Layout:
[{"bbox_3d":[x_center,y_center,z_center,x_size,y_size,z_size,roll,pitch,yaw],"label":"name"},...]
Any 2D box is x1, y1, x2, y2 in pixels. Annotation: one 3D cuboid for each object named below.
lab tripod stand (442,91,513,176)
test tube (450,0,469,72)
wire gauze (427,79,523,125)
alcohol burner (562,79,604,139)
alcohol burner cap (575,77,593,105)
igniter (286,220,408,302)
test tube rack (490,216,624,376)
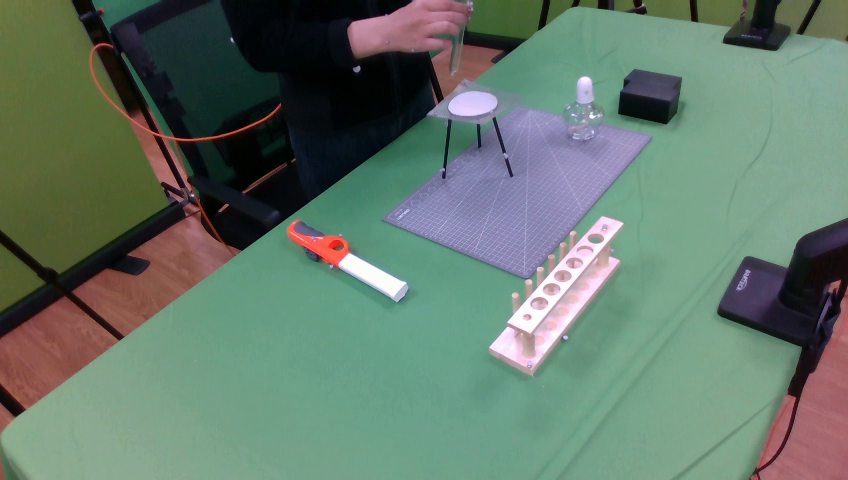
[{"bbox_3d":[0.096,-0.190,1.096,0.148,0.132,0.147,-4,40,4],"label":"lab tripod stand"},{"bbox_3d":[0.059,-0.346,0.981,0.017,0.150,0.017,6,36,-4],"label":"test tube"},{"bbox_3d":[0.088,-0.239,1.050,0.120,0.011,0.125,22,50,30],"label":"wire gauze"},{"bbox_3d":[0.303,-0.253,1.147,0.078,0.119,0.077,-4,41,4],"label":"alcohol burner"},{"bbox_3d":[0.297,-0.279,1.123,0.034,0.048,0.033,-9,41,8],"label":"alcohol burner cap"},{"bbox_3d":[-0.134,0.028,0.969,0.274,0.025,0.057,26,61,35],"label":"igniter"},{"bbox_3d":[0.184,0.064,0.822,0.066,0.085,0.243,24,50,33],"label":"test tube rack"}]
